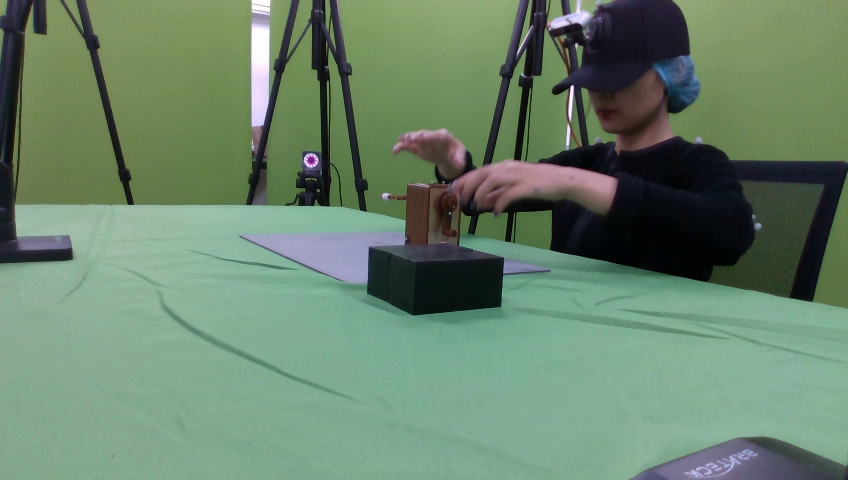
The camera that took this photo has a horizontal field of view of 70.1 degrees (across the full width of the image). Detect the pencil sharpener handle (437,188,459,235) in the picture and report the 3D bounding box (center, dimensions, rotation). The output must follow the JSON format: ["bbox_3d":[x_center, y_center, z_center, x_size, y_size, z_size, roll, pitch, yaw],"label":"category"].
[{"bbox_3d":[0.041,-0.041,0.876,0.036,0.067,0.030,1,7,-30],"label":"pencil sharpener handle"}]

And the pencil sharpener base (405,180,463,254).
[{"bbox_3d":[0.016,-0.035,0.922,0.061,0.107,0.076,-2,9,-30],"label":"pencil sharpener base"}]

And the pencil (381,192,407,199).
[{"bbox_3d":[-0.026,-0.070,0.993,0.012,0.012,0.193,-2,7,-29],"label":"pencil"}]
